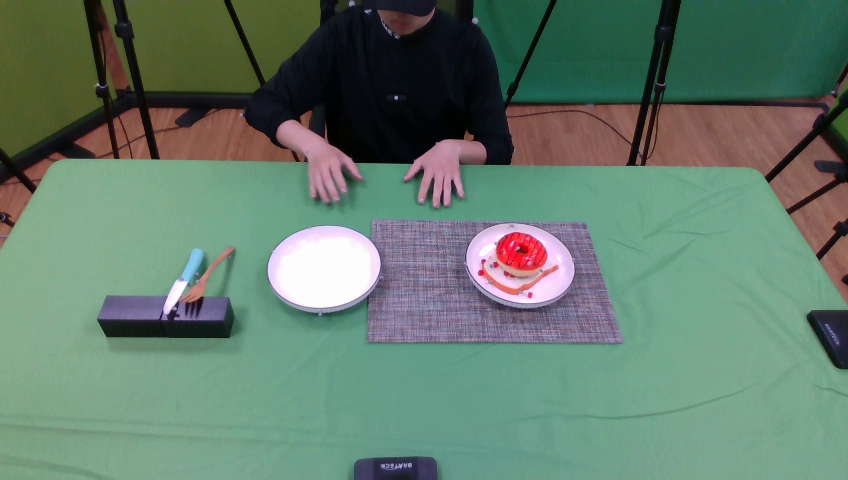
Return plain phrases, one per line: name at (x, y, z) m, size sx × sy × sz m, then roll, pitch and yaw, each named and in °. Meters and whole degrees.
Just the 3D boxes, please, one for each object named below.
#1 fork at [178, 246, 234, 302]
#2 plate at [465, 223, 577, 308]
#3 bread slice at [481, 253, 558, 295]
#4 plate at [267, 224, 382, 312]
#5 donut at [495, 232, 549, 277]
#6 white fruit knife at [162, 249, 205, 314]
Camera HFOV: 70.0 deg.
fork at (-0.380, 0.057, 1.075) m, size 0.028 × 0.019 × 0.206 m, roll 2°, pitch 28°, yaw 5°
plate at (0.180, 0.051, 1.144) m, size 0.209 × 0.038 × 0.208 m, roll 2°, pitch 46°, yaw -2°
bread slice at (0.177, 0.050, 1.148) m, size 0.131 × 0.019 × 0.104 m, roll -32°, pitch 55°, yaw -31°
plate at (-0.182, 0.055, 1.120) m, size 0.208 × 0.039 × 0.206 m, roll 2°, pitch 46°, yaw -2°
donut at (0.180, 0.026, 1.119) m, size 0.099 × 0.048 × 0.098 m, roll 2°, pitch 46°, yaw -2°
white fruit knife at (-0.420, 0.070, 1.063) m, size 0.027 × 0.016 × 0.206 m, roll -1°, pitch 29°, yaw -2°
